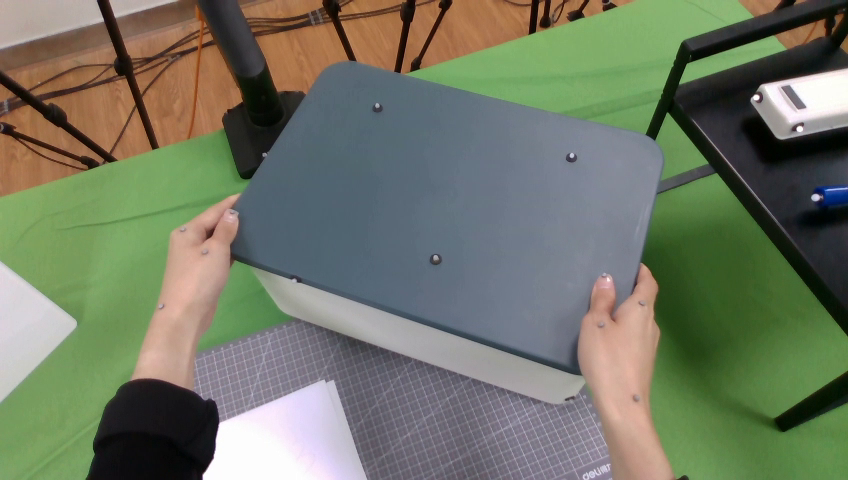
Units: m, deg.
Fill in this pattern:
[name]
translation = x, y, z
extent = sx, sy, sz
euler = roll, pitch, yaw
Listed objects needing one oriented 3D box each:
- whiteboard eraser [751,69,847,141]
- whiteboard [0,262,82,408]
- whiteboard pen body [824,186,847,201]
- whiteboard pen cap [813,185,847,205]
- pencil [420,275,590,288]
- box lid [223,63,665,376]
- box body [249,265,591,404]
[whiteboard eraser]
translation = 0.371, -0.125, 0.564
extent = 0.113, 0.042, 0.055
euler = -11, 60, -5
[whiteboard]
translation = -0.551, 0.059, 0.585
extent = 0.142, 0.309, 0.216
euler = 20, 60, 36
[whiteboard pen body]
translation = 0.411, -0.044, 0.523
extent = 0.141, 0.017, 0.017
euler = -5, 58, -6
[whiteboard pen cap]
translation = 0.353, -0.039, 0.517
extent = 0.033, 0.018, 0.018
euler = -4, 58, -7
[pencil]
translation = 0.091, 0.046, 0.696
extent = 0.194, 0.012, 0.012
euler = 2, 59, 7
[box lid]
translation = 0.022, -0.043, 0.574
extent = 0.370, 0.015, 0.262
euler = 17, 61, 12
[box body]
translation = 0.029, -0.006, 0.646
extent = 0.363, 0.162, 0.252
euler = 16, 60, 12
